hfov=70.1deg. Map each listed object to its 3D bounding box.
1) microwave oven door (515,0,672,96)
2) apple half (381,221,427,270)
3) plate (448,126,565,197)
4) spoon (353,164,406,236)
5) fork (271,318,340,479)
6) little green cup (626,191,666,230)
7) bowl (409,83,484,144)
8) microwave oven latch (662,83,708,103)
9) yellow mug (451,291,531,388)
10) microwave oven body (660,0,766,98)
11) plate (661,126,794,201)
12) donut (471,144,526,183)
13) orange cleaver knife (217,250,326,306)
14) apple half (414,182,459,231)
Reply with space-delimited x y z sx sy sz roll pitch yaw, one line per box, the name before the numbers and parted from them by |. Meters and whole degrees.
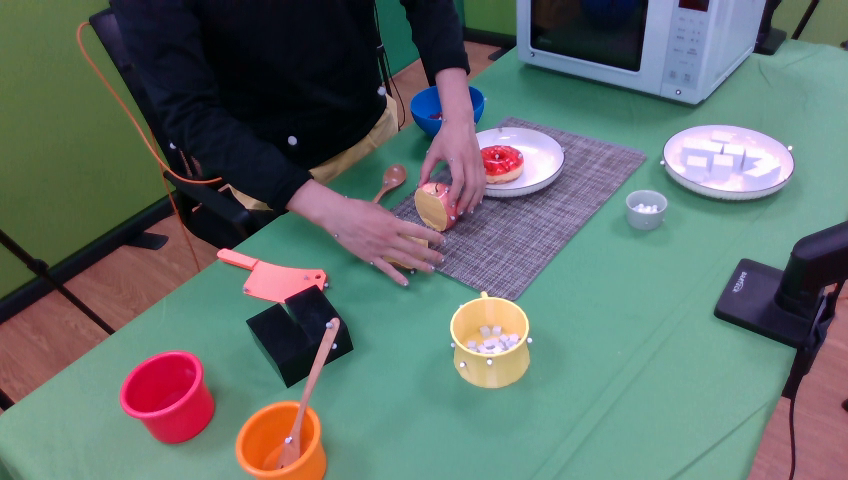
microwave oven door | 0.343 -0.455 1.259 0.353 0.245 0.039 26 51 33
apple half | -0.025 0.011 0.946 0.081 0.033 0.081 -5 71 16
plate | 0.150 -0.138 1.097 0.209 0.038 0.208 -4 40 4
spoon | -0.083 -0.074 1.075 0.041 0.021 0.194 23 46 8
fork | -0.132 0.186 0.676 0.028 0.019 0.207 18 90 28
little green cup | 0.352 -0.046 0.963 0.061 0.039 0.061 -4 40 4
bowl | 0.048 -0.245 1.213 0.151 0.077 0.150 -4 40 4
microwave oven latch | 0.518 -0.296 1.205 0.078 0.029 0.030 27 52 35
yellow mug | 0.085 0.120 0.786 0.100 0.064 0.130 -7 39 1
microwave oven body | 0.472 -0.514 1.317 0.438 0.261 0.327 26 51 34
plate | 0.513 -0.128 1.035 0.207 0.039 0.206 -4 40 4
donut | 0.133 -0.139 1.083 0.099 0.048 0.098 -5 38 5
orange cleaver knife | -0.248 0.059 0.945 0.210 0.012 0.077 13 49 20
apple half | 0.028 -0.059 0.995 0.053 0.075 0.080 -32 42 -31
